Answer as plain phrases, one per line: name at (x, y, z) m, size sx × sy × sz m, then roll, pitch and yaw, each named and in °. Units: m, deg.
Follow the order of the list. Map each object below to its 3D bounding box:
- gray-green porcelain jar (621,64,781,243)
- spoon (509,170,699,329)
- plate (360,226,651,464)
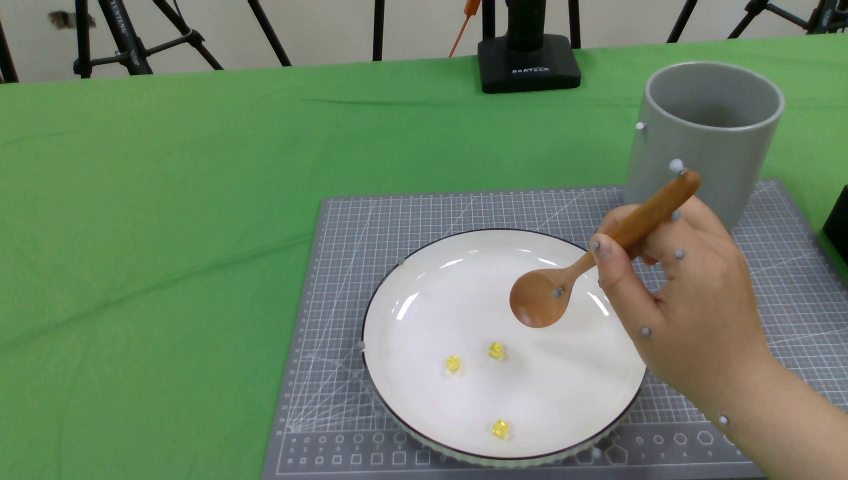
gray-green porcelain jar at (0.230, -0.069, 0.521) m, size 0.106 × 0.128 × 0.105 m, roll -3°, pitch 44°, yaw 3°
spoon at (0.100, 0.014, 0.368) m, size 0.021 × 0.194 × 0.041 m, roll -31°, pitch 78°, yaw -26°
plate at (0.058, 0.073, 0.454) m, size 0.207 × 0.039 × 0.205 m, roll -3°, pitch 44°, yaw 3°
